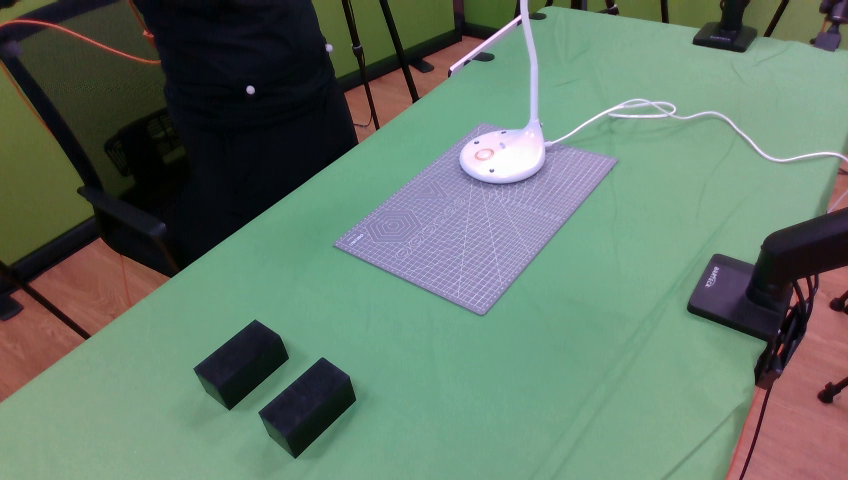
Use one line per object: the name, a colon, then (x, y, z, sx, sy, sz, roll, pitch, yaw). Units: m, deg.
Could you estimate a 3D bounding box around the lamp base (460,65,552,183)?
lamp base: (0.149, -0.218, 1.078, 0.180, 0.181, 0.159, -19, 41, -17)
